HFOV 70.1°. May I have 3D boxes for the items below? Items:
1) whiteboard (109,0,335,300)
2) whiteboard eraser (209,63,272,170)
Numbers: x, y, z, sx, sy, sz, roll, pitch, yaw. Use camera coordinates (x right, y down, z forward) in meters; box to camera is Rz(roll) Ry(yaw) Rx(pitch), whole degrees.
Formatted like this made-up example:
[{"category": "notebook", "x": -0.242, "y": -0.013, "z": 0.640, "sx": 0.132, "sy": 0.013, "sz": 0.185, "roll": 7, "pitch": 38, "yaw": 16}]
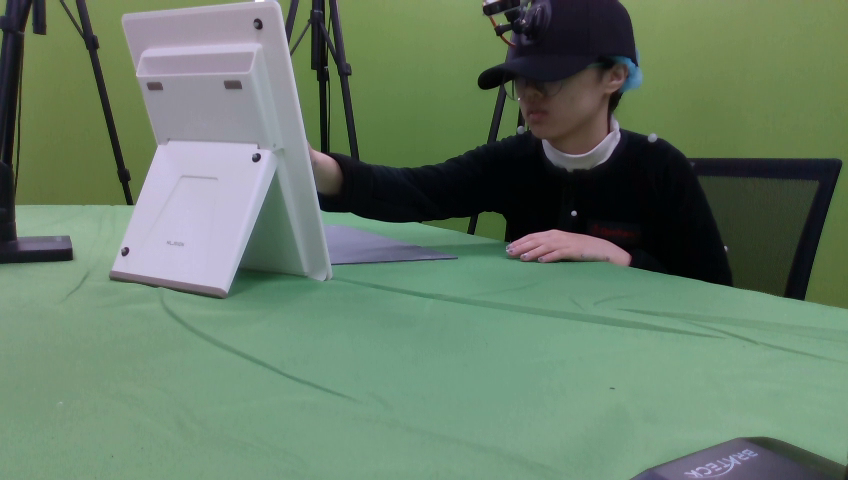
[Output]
[{"category": "whiteboard", "x": -0.247, "y": -0.072, "z": 0.624, "sx": 0.216, "sy": 0.305, "sz": 0.144, "roll": 6, "pitch": 28, "yaw": 26}, {"category": "whiteboard eraser", "x": -0.209, "y": -0.136, "z": 0.678, "sx": 0.055, "sy": 0.112, "sz": 0.042, "roll": 30, "pitch": 37, "yaw": 9}]
